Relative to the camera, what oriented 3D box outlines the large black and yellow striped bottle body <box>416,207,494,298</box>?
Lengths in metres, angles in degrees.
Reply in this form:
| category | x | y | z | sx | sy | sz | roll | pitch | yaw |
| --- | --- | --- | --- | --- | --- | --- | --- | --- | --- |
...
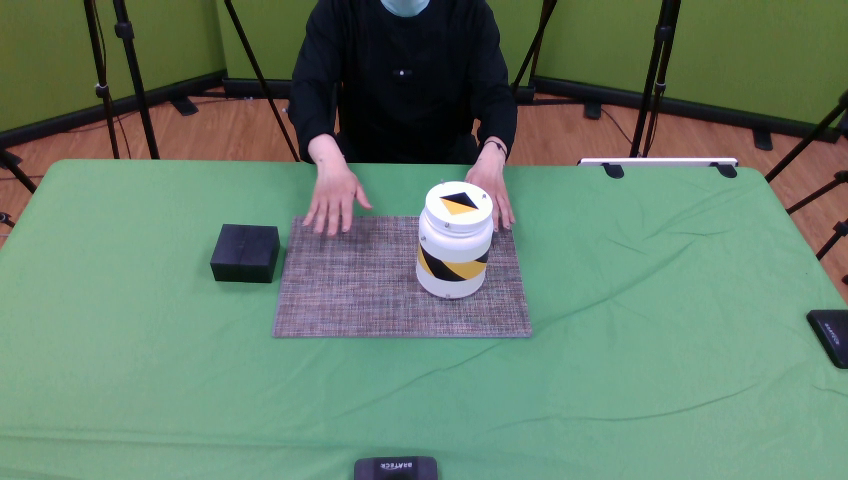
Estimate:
| category | x | y | z | sx | sy | sz | roll | pitch | yaw |
| --- | --- | --- | --- | --- | --- | --- | --- | --- | --- |
| large black and yellow striped bottle body | 0.054 | 0.001 | 1.080 | 0.131 | 0.185 | 0.130 | 2 | 46 | -2 |

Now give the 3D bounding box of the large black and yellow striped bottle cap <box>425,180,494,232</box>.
| category | x | y | z | sx | sy | sz | roll | pitch | yaw |
| --- | --- | --- | --- | --- | --- | --- | --- | --- | --- |
| large black and yellow striped bottle cap | 0.059 | -0.059 | 1.017 | 0.115 | 0.019 | 0.114 | 2 | 44 | -2 |
